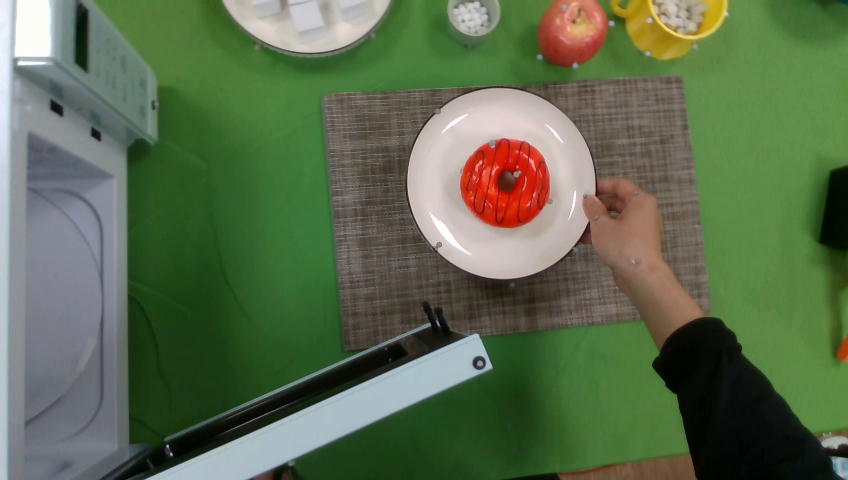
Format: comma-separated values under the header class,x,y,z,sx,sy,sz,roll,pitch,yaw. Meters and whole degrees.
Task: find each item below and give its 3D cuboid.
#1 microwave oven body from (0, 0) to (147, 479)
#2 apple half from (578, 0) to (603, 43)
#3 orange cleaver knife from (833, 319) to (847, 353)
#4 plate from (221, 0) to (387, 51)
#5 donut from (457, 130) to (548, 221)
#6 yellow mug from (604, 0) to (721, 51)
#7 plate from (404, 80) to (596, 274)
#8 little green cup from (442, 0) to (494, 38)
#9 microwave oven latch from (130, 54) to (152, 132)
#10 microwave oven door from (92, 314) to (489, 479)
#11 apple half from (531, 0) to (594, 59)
class,x,y,z,sx,sy,sz,roll,pitch,yaw
microwave oven body,-0.438,0.016,0.529,0.327,0.260,0.441,-3,87,-7
apple half,0.189,-0.271,0.722,0.033,0.081,0.081,-32,89,-3
orange cleaver knife,0.550,0.039,0.735,0.012,0.076,0.212,14,116,-3
plate,-0.139,-0.317,0.704,0.208,0.039,0.207,1,86,-7
donut,0.084,-0.068,0.647,0.099,0.048,0.099,0,90,-5
yellow mug,0.285,-0.293,0.739,0.131,0.064,0.099,6,84,-6
plate,0.081,-0.067,0.657,0.209,0.038,0.209,0,88,-5
little green cup,0.050,-0.274,0.724,0.061,0.038,0.061,1,86,-6
microwave oven latch,-0.310,-0.158,0.654,0.030,0.029,0.079,-1,87,-7
microwave oven door,-0.127,0.157,0.551,0.356,0.244,0.039,-23,87,-8
apple half,0.156,-0.250,0.718,0.053,0.074,0.081,-32,93,-4
